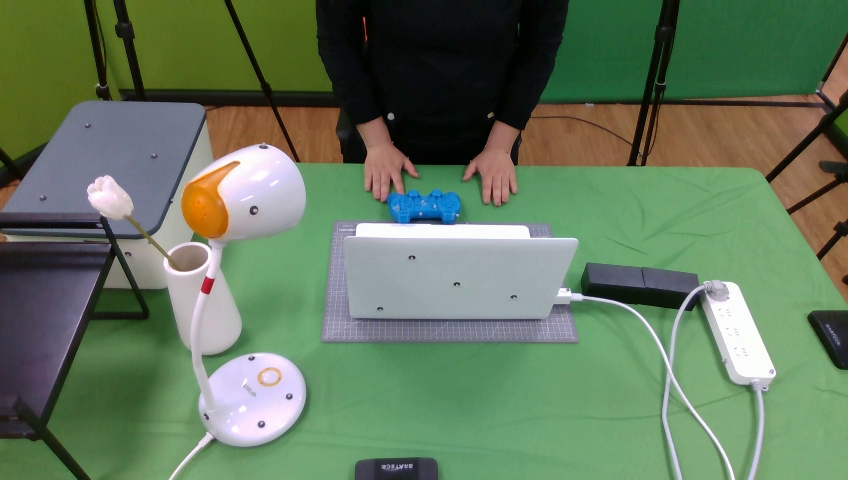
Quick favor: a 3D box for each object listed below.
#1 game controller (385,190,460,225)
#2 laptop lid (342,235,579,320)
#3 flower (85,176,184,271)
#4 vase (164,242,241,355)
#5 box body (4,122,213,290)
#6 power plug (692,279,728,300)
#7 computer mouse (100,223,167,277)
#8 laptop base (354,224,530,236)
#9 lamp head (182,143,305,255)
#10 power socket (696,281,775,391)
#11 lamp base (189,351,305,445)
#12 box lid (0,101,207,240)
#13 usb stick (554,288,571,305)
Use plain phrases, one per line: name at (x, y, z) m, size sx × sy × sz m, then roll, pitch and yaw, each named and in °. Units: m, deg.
game controller at (-0.001, -0.072, 1.251) m, size 0.155 × 0.052 × 0.096 m, roll -2°, pitch 47°, yaw -6°
laptop lid at (0.051, 0.067, 0.973) m, size 0.357 × 0.243 × 0.013 m, roll 1°, pitch 52°, yaw -5°
flower at (-0.365, 0.038, 0.894) m, size 0.038 × 0.364 × 0.044 m, roll -6°, pitch 53°, yaw 14°
vase at (-0.349, 0.096, 0.954) m, size 0.098 × 0.201 × 0.097 m, roll 3°, pitch 47°, yaw -3°
box body at (-0.563, -0.086, 1.139) m, size 0.254 × 0.161 × 0.361 m, roll 2°, pitch 46°, yaw -3°
power plug at (0.522, 0.091, 1.116) m, size 0.072 × 0.053 × 0.035 m, roll 10°, pitch 47°, yaw 8°
computer mouse at (-0.539, 0.014, 1.123) m, size 0.062 × 0.041 × 0.117 m, roll 30°, pitch 57°, yaw 18°
laptop base at (0.040, 0.055, 1.149) m, size 0.355 × 0.023 × 0.234 m, roll 1°, pitch 43°, yaw -4°
lamp head at (-0.216, -0.044, 0.697) m, size 0.112 × 0.113 × 0.123 m, roll 23°, pitch 31°, yaw 17°
power socket at (0.550, 0.160, 1.078) m, size 0.072 × 0.033 × 0.225 m, roll 2°, pitch 46°, yaw -1°
lamp base at (-0.268, 0.196, 0.876) m, size 0.160 × 0.181 × 0.179 m, roll 25°, pitch 52°, yaw 20°
box lid at (-0.559, -0.137, 1.084) m, size 0.263 × 0.015 × 0.369 m, roll 2°, pitch 46°, yaw -2°
usb stick at (0.236, 0.103, 1.101) m, size 0.059 × 0.027 × 0.021 m, roll -2°, pitch 46°, yaw 1°
